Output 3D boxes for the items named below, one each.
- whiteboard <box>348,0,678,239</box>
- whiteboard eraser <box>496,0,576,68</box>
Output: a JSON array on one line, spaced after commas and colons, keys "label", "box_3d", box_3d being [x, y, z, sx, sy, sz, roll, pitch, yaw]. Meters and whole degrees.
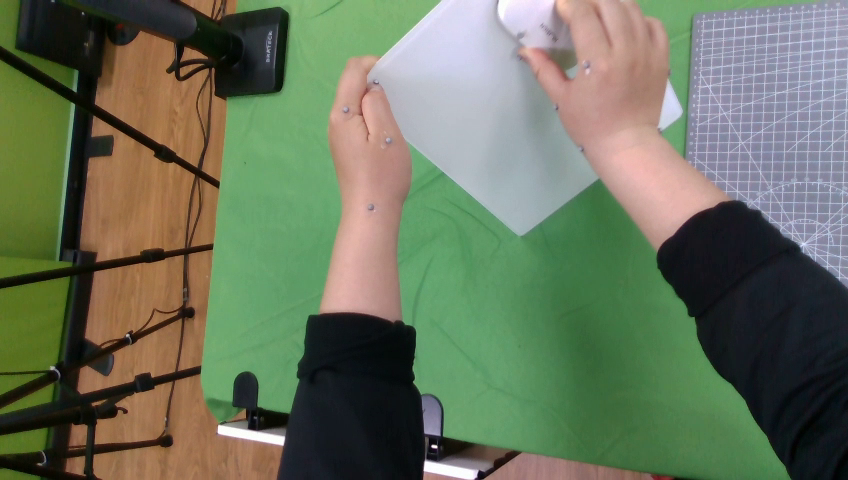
[{"label": "whiteboard", "box_3d": [0.080, -0.170, 0.593, 0.217, 0.308, 0.142, -39, 52, 16]}, {"label": "whiteboard eraser", "box_3d": [0.090, -0.171, 0.481, 0.041, 0.102, 0.018, -47, 57, 16]}]
